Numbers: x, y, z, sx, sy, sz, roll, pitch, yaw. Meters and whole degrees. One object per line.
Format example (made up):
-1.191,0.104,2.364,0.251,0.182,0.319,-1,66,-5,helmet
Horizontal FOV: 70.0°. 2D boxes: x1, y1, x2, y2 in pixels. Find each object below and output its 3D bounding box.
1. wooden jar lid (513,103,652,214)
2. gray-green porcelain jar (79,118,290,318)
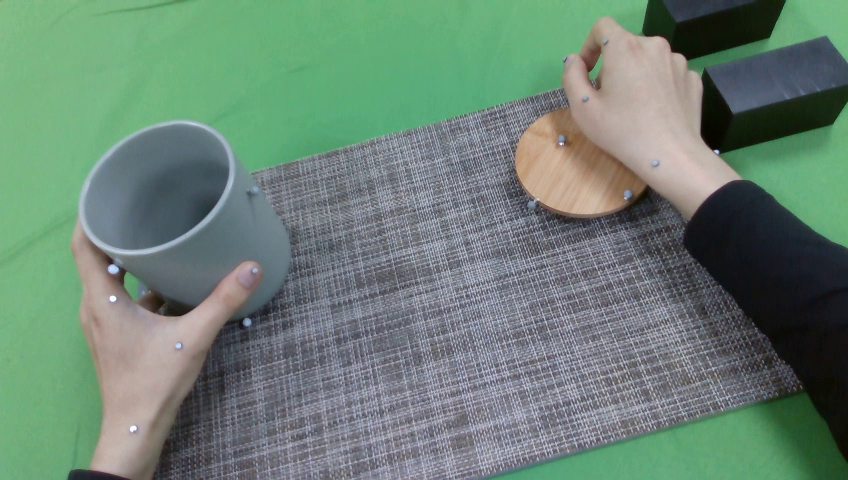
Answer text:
0.127,-0.065,0.492,0.108,0.021,0.107,-4,62,7,wooden jar lid
-0.163,-0.008,0.444,0.106,0.127,0.105,-4,60,7,gray-green porcelain jar
